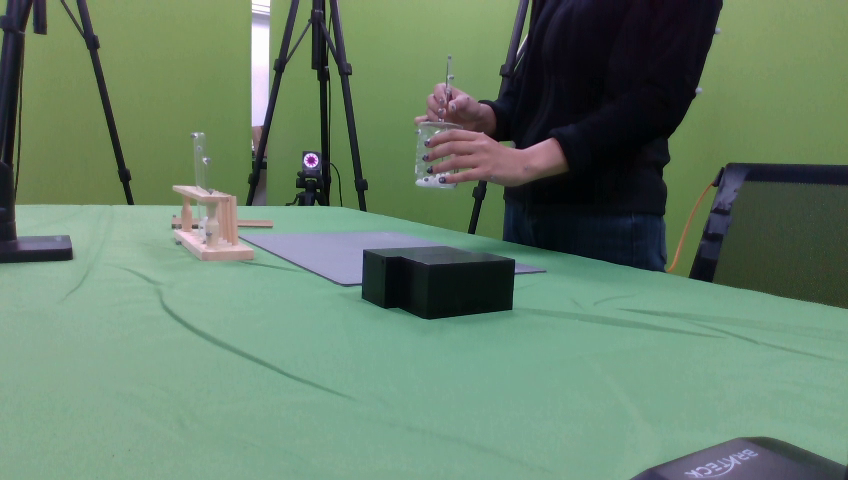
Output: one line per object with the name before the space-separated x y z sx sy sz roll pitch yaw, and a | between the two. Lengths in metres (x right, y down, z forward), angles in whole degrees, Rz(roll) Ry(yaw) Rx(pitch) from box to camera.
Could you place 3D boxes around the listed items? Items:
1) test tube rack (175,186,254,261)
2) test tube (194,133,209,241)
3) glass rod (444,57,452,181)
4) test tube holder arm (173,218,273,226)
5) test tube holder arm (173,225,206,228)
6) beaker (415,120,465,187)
test tube rack | -0.314 -0.031 0.889 0.067 0.085 0.241 -2 8 -30
test tube | -0.307 -0.074 0.842 0.017 0.150 0.017 -3 2 0
glass rod | 0.039 -0.194 0.974 0.008 0.199 0.008 2 3 0
test tube holder arm | -0.371 -0.033 1.128 0.179 0.015 0.013 -1 -22 -26
test tube holder arm | -0.415 -0.030 1.113 0.088 0.015 0.010 -1 -22 -25
beaker | 0.022 -0.135 0.960 0.074 0.100 0.083 3 4 -15
